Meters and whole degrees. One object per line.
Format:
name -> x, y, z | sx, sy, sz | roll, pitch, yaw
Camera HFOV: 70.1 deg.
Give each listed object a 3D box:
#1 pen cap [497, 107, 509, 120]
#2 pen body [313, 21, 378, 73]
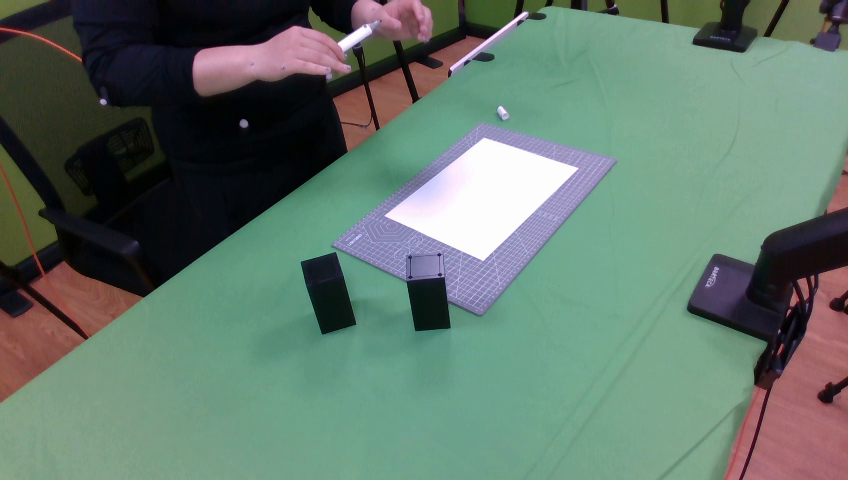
pen cap -> 0.164, -0.264, 1.261 | 0.017, 0.017, 0.038 | -14, 41, -7
pen body -> -0.120, -0.306, 0.950 | 0.017, 0.017, 0.144 | 25, 60, 33
